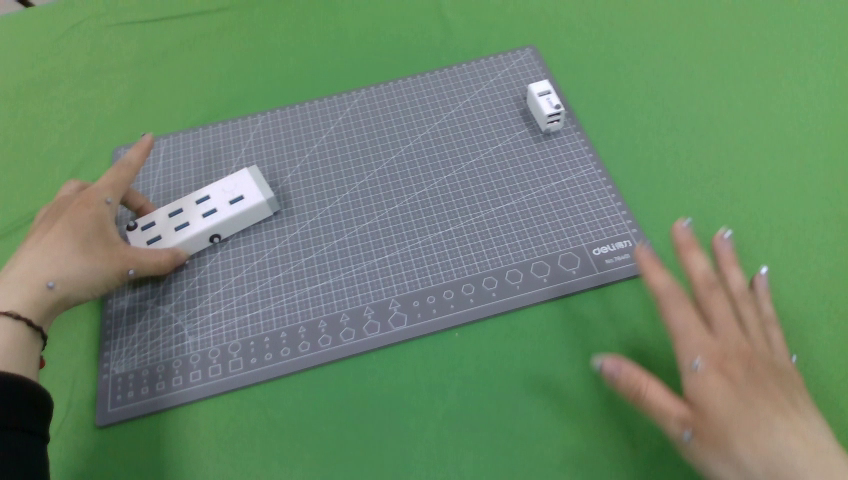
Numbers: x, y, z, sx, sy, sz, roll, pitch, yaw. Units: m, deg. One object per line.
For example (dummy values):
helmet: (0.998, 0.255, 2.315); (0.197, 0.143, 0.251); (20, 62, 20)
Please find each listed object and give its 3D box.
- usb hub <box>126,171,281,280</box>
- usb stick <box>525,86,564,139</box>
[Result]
usb hub: (-0.195, -0.016, 0.541); (0.125, 0.025, 0.049); (-28, 57, -14)
usb stick: (0.113, -0.127, 0.584); (0.021, 0.027, 0.058); (-17, 53, -3)
